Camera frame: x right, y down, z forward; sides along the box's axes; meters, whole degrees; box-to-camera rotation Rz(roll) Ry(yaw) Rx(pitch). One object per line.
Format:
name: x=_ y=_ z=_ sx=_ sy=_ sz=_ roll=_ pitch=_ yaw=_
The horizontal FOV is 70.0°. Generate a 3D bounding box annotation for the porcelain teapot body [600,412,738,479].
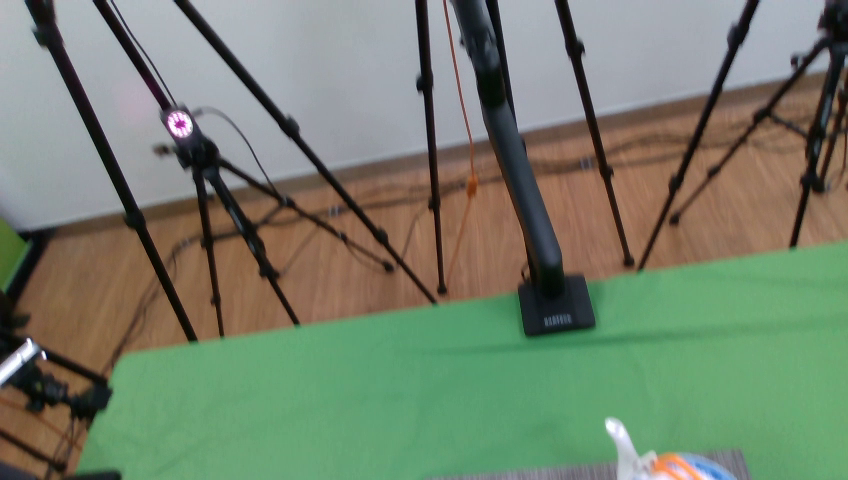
porcelain teapot body: x=0.277 y=0.297 z=0.708 sx=0.145 sy=0.228 sz=0.203 roll=-33 pitch=47 yaw=-13

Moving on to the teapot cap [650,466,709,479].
teapot cap: x=0.284 y=0.286 z=0.661 sx=0.085 sy=0.044 sz=0.084 roll=-9 pitch=44 yaw=9
